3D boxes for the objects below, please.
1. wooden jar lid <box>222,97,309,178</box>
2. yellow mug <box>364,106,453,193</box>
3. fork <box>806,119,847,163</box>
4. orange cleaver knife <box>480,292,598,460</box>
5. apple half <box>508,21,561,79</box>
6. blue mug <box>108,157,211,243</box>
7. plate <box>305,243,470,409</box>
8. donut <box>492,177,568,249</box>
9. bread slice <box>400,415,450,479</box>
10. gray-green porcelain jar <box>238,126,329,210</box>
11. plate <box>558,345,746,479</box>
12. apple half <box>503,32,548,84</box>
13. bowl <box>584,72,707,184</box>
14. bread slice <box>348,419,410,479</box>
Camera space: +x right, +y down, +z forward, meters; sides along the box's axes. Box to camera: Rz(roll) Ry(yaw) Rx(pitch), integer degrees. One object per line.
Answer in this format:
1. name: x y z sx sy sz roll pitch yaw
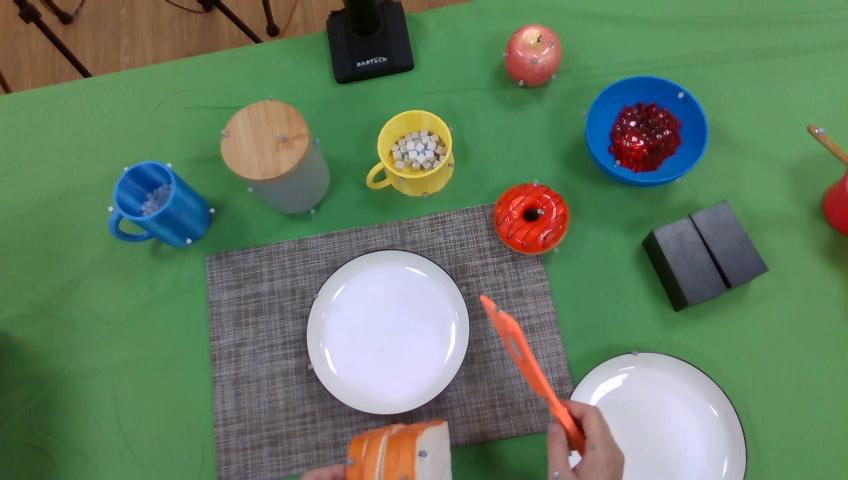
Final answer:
1. wooden jar lid: -0.192 -0.123 0.742 0.108 0.021 0.107 -2 71 5
2. yellow mug: -0.024 -0.114 0.822 0.131 0.064 0.099 -33 73 -5
3. fork: 0.511 -0.086 0.724 0.209 0.018 0.028 31 73 -30
4. orange cleaver knife: 0.119 0.141 0.628 0.012 0.076 0.212 -36 108 -12
5. apple half: 0.161 -0.269 0.850 0.053 0.075 0.080 -40 70 -13
6. blue mug: -0.359 -0.042 0.807 0.116 0.106 0.082 -35 72 -6
7. plate: -0.045 0.107 0.765 0.207 0.039 0.206 -1 73 5
8. donut: 0.138 -0.035 0.791 0.099 0.048 0.098 -1 73 4
9. bread slice: 0.004 0.234 0.612 0.019 0.132 0.104 -7 76 15
10. gray-green porcelain jar: -0.187 -0.104 0.801 0.106 0.127 0.105 -1 72 5
11. plate: 0.260 0.229 0.705 0.209 0.038 0.208 -2 72 5
12. apple half: 0.133 -0.243 0.843 0.033 0.082 0.081 -41 73 -13
13. bowl: 0.281 -0.134 0.795 0.151 0.077 0.150 -1 73 5
14. bread slice: -0.041 0.240 0.629 0.018 0.135 0.106 -11 70 18
